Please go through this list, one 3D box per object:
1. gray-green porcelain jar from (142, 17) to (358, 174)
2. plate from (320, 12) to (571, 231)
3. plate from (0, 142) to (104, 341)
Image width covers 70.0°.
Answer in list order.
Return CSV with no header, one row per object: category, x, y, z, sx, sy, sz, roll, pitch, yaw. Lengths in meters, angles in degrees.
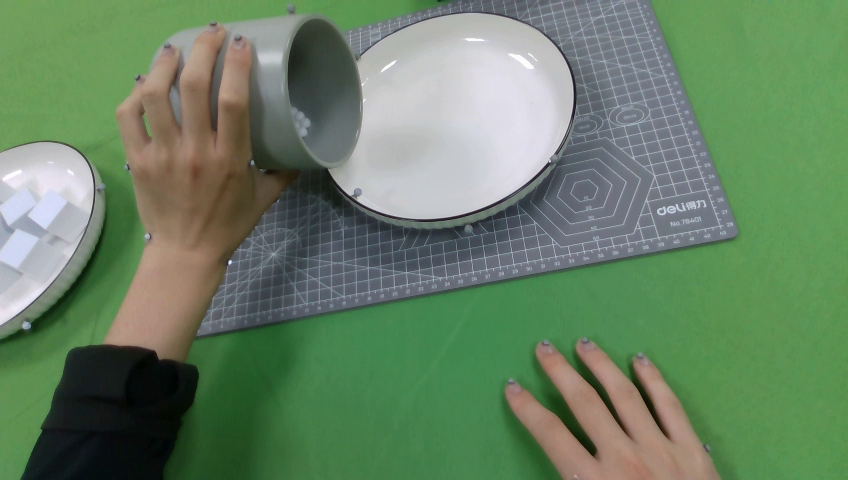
gray-green porcelain jar,-0.128,-0.102,0.446,0.126,0.107,0.105,1,63,21
plate,0.013,-0.095,0.489,0.209,0.038,0.207,-7,61,13
plate,-0.380,0.005,0.552,0.207,0.039,0.206,-7,61,13
